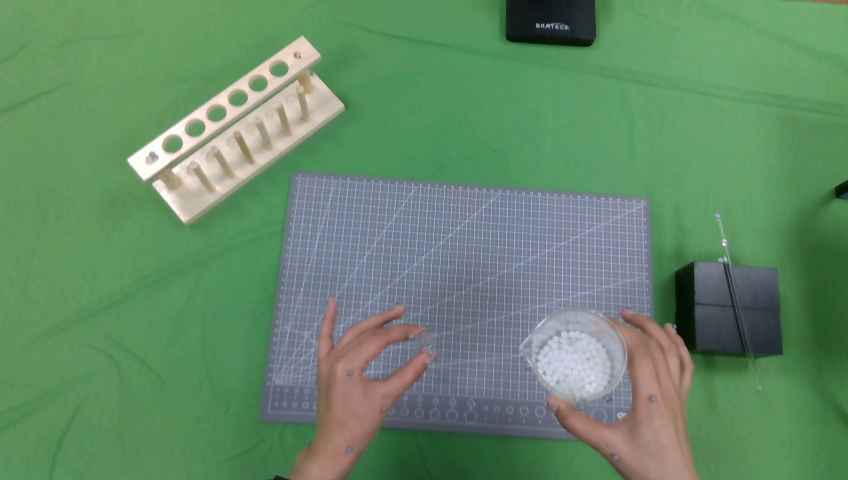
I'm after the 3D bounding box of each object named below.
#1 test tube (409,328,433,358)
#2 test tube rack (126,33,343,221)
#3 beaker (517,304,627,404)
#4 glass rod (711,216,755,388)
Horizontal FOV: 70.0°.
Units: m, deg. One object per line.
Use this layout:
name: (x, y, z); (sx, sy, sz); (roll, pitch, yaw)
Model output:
test tube: (-0.004, 0.101, 0.583); (0.017, 0.151, 0.017); (1, 75, -3)
test tube rack: (-0.214, -0.132, 0.717); (0.242, 0.085, 0.066); (-40, 80, -12)
beaker: (0.124, 0.101, 0.517); (0.084, 0.101, 0.073); (3, 72, 13)
glass rod: (0.350, 0.067, 0.688); (0.008, 0.008, 0.198); (-5, 76, -4)
